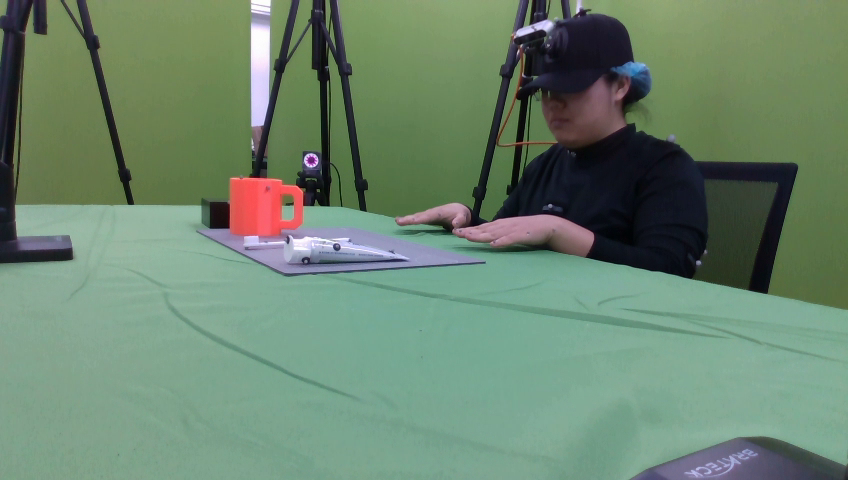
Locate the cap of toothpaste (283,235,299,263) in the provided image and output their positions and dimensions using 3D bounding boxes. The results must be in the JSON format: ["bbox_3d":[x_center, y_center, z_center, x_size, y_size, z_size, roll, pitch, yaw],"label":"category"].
[{"bbox_3d":[-0.168,0.012,0.764,0.011,0.037,0.037,3,5,-34],"label":"cap of toothpaste"}]

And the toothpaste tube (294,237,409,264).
[{"bbox_3d":[-0.101,0.016,0.807,0.166,0.034,0.055,3,12,-34],"label":"toothpaste tube"}]

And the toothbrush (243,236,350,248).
[{"bbox_3d":[-0.191,0.001,0.927,0.183,0.016,0.014,-2,-9,-41],"label":"toothbrush"}]

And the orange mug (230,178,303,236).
[{"bbox_3d":[-0.275,-0.060,1.058,0.126,0.101,0.083,-2,8,-5],"label":"orange mug"}]
